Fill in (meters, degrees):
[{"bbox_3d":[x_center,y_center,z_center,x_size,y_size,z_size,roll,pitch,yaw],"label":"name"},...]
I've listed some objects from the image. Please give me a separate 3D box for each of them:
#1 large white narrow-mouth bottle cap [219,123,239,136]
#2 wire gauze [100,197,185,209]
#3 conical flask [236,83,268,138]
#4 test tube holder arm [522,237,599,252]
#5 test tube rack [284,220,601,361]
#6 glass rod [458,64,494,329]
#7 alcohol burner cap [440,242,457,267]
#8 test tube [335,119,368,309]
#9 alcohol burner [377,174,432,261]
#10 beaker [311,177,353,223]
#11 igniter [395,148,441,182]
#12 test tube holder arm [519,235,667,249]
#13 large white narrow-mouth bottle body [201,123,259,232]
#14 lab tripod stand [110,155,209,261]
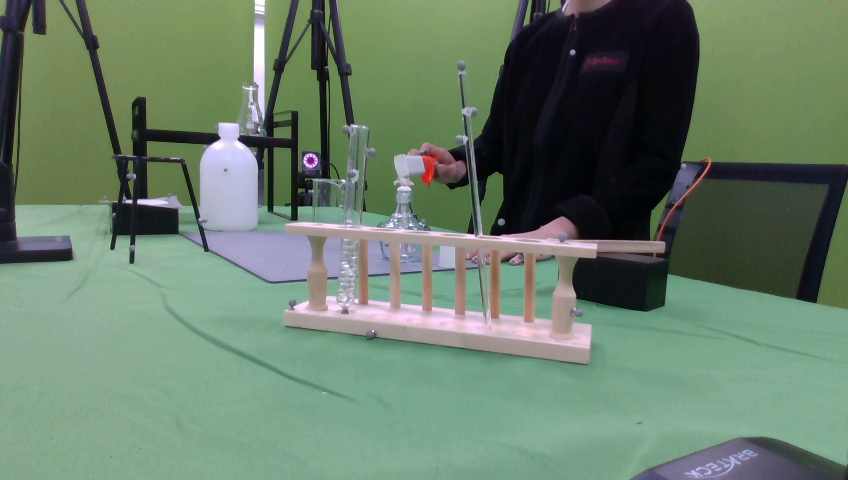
[{"bbox_3d":[-0.356,-0.201,1.104,0.038,0.024,0.037,2,8,0],"label":"large white narrow-mouth bottle cap"},{"bbox_3d":[-0.469,-0.062,1.008,0.126,0.011,0.121,-2,8,-25],"label":"wire gauze"},{"bbox_3d":[-0.400,-0.298,1.396,0.075,0.122,0.075,2,8,0],"label":"conical flask"},{"bbox_3d":[0.144,0.004,0.635,0.088,0.015,0.010,0,14,-19],"label":"test tube holder arm"},{"bbox_3d":[0.013,0.032,0.482,0.242,0.085,0.067,4,7,16],"label":"test tube rack"},{"bbox_3d":[0.039,-0.029,0.449,0.008,0.199,0.008,-7,9,1],"label":"glass rod"},{"bbox_3d":[0.038,0.011,0.806,0.034,0.048,0.034,2,7,0],"label":"alcohol burner cap"},{"bbox_3d":[-0.057,-0.019,0.477,0.017,0.150,0.017,6,9,-1],"label":"test tube"},{"bbox_3d":[-0.027,-0.031,0.838,0.078,0.119,0.078,0,6,0],"label":"alcohol burner"},{"bbox_3d":[-0.167,-0.064,1.106,0.074,0.100,0.083,-2,9,-26],"label":"beaker"},{"bbox_3d":[-0.004,-0.122,0.975,0.025,0.057,0.277,-12,4,12],"label":"igniter"},{"bbox_3d":[0.186,0.003,0.655,0.179,0.015,0.013,0,14,-18],"label":"test tube holder arm"},{"bbox_3d":[-0.358,-0.116,1.116,0.102,0.194,0.102,2,8,0],"label":"large white narrow-mouth bottle body"},{"bbox_3d":[-0.361,-0.046,0.806,0.148,0.131,0.148,2,5,0],"label":"lab tripod stand"}]
